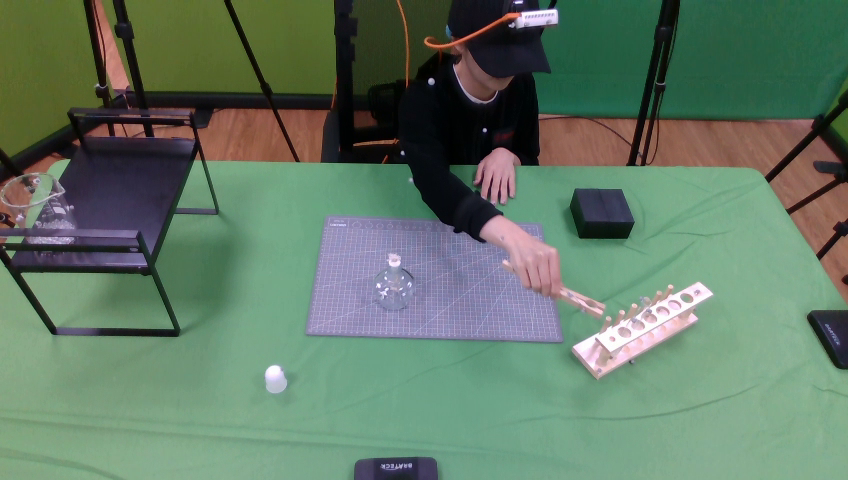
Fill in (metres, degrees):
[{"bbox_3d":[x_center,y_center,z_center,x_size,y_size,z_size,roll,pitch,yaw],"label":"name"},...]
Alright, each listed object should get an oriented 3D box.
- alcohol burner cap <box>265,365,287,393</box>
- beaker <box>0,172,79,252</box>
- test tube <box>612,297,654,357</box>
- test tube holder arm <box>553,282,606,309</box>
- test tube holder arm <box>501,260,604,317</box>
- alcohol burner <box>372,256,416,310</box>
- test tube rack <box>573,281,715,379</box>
[{"bbox_3d":[-0.236,0.216,0.956,0.034,0.048,0.033,3,46,-3],"label":"alcohol burner cap"},{"bbox_3d":[-0.557,-0.038,0.889,0.084,0.101,0.073,-3,47,-8],"label":"beaker"},{"bbox_3d":[0.329,0.142,0.964,0.017,0.151,0.017,5,46,-5],"label":"test tube"},{"bbox_3d":[0.247,0.091,0.967,0.087,0.015,0.010,24,48,14],"label":"test tube holder arm"},{"bbox_3d":[0.205,0.076,0.976,0.178,0.015,0.013,26,49,16],"label":"test tube holder arm"},{"bbox_3d":[-0.052,0.068,1.057,0.078,0.120,0.077,1,48,-1],"label":"alcohol burner"},{"bbox_3d":[0.378,0.140,1.038,0.242,0.085,0.066,-22,51,-23],"label":"test tube rack"}]
